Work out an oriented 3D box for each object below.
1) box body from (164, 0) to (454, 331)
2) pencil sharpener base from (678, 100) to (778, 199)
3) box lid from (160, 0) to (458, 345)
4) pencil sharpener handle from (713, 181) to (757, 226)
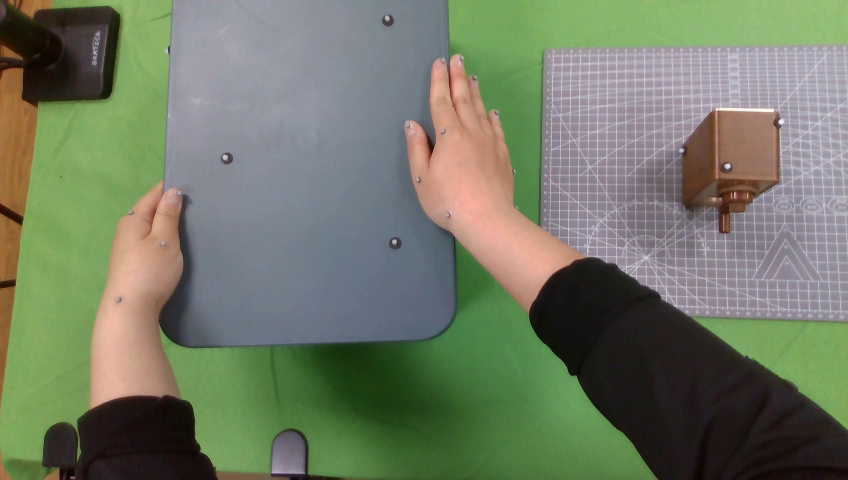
[{"bbox_3d":[-0.099,-0.089,0.621,0.254,0.161,0.362,-3,81,6],"label":"box body"},{"bbox_3d":[0.295,-0.082,0.596,0.061,0.107,0.076,2,81,8],"label":"pencil sharpener base"},{"bbox_3d":[-0.106,-0.096,0.544,0.263,0.015,0.370,-3,82,5],"label":"box lid"},{"bbox_3d":[0.292,-0.034,0.576,0.036,0.068,0.030,1,81,14],"label":"pencil sharpener handle"}]
